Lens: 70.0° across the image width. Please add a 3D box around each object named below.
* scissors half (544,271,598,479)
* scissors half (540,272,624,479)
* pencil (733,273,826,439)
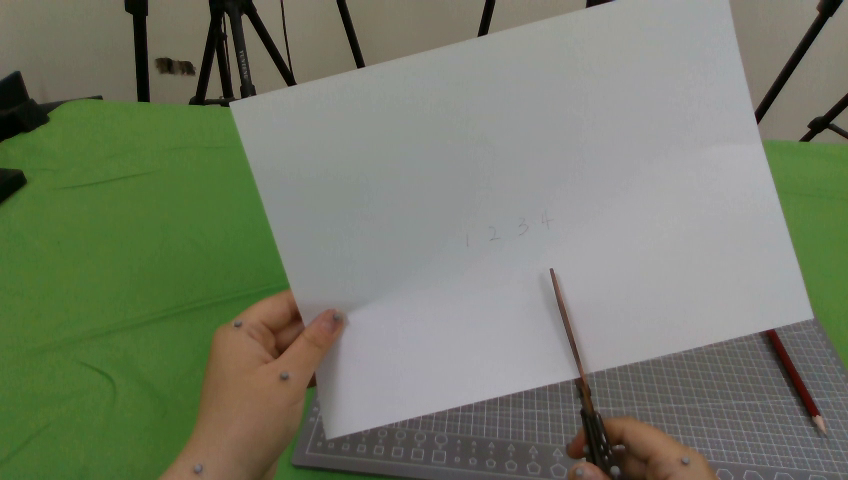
[{"bbox_3d":[0.095,0.103,0.369,0.013,0.175,0.040,-15,4,-4],"label":"scissors half"},{"bbox_3d":[0.094,0.099,0.347,0.013,0.040,0.174,-16,69,1],"label":"scissors half"},{"bbox_3d":[0.314,0.094,0.541,0.012,0.012,0.192,2,38,2],"label":"pencil"}]
